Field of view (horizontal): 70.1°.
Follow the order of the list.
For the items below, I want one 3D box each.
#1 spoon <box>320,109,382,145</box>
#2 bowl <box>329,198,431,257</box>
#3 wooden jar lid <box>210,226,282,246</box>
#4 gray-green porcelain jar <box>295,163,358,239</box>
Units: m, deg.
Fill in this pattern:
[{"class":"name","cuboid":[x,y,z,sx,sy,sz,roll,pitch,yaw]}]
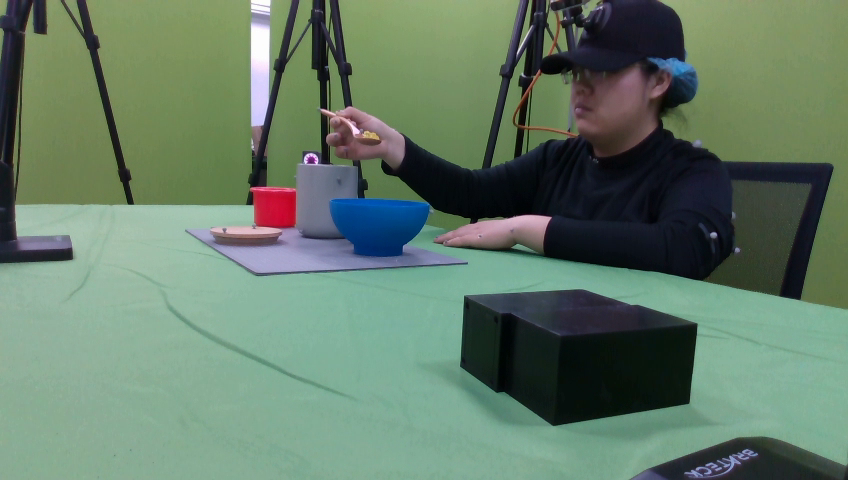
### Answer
[{"class":"spoon","cuboid":[-0.129,-0.195,1.025,0.042,0.021,0.192,3,27,-38]},{"class":"bowl","cuboid":[-0.067,-0.019,0.894,0.151,0.077,0.151,3,7,0]},{"class":"wooden jar lid","cuboid":[-0.279,-0.007,0.951,0.108,0.020,0.108,2,8,0]},{"class":"gray-green porcelain jar","cuboid":[-0.170,-0.069,1.054,0.106,0.126,0.106,3,7,0]}]
